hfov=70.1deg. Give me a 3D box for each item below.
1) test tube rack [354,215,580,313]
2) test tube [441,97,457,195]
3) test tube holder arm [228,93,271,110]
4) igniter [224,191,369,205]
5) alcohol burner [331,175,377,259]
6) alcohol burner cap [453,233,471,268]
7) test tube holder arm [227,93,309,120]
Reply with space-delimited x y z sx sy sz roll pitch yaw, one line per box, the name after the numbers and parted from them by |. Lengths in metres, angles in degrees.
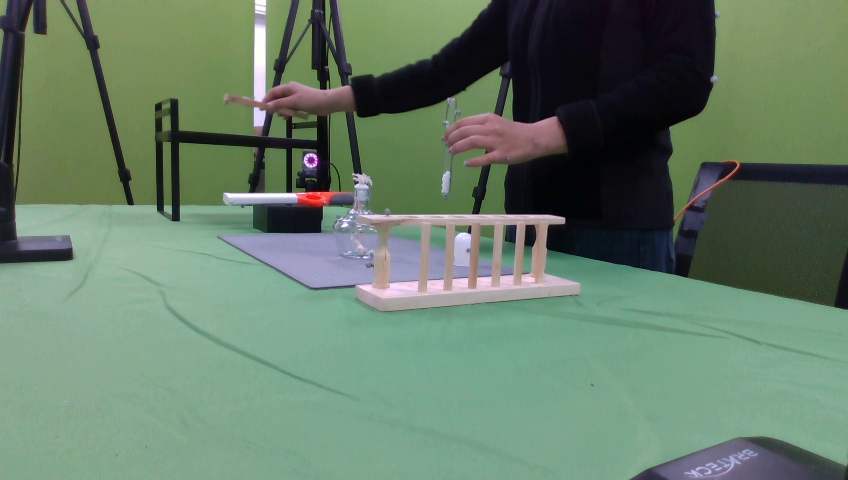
0.053 0.019 0.635 0.243 0.085 0.066 -1 8 -29 | test tube rack
0.038 -0.144 0.935 0.017 0.150 0.017 4 12 0 | test tube
-0.354 -0.281 1.231 0.088 0.015 0.010 8 17 -39 | test tube holder arm
-0.237 -0.080 1.157 0.278 0.025 0.057 -2 21 -31 | igniter
-0.091 -0.033 0.855 0.078 0.119 0.078 4 7 0 | alcohol burner
0.053 0.014 0.823 0.034 0.048 0.034 2 6 0 | alcohol burner cap
-0.323 -0.278 1.264 0.179 0.015 0.013 7 17 -41 | test tube holder arm
